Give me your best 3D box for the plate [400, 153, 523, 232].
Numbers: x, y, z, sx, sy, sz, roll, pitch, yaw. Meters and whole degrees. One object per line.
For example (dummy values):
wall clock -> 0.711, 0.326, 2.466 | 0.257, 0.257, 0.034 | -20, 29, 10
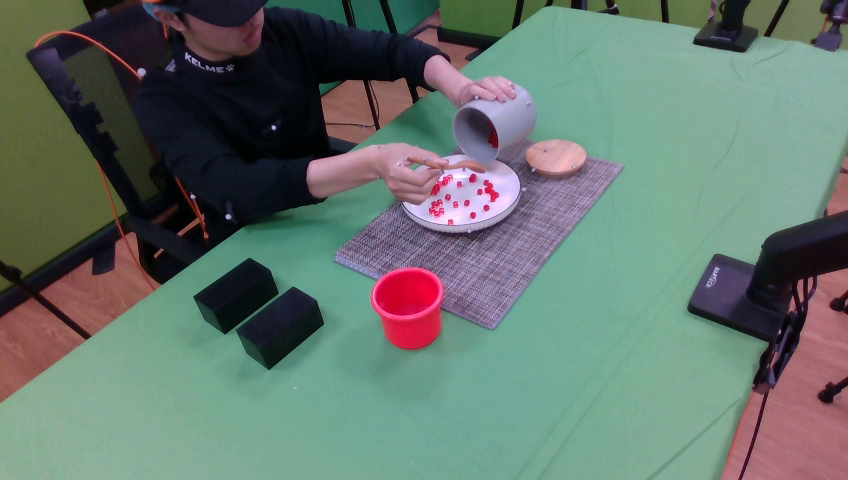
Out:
plate -> 0.065, -0.078, 1.034 | 0.207, 0.039, 0.206 | -4, 41, 4

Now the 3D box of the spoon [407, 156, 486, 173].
spoon -> 0.038, -0.118, 0.954 | 0.041, 0.021, 0.195 | 18, 15, 36

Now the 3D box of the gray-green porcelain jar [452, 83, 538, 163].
gray-green porcelain jar -> 0.129, -0.209, 1.057 | 0.105, 0.106, 0.127 | 26, 49, 33

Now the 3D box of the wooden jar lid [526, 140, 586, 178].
wooden jar lid -> 0.240, -0.147, 1.103 | 0.108, 0.021, 0.108 | -4, 42, 4
